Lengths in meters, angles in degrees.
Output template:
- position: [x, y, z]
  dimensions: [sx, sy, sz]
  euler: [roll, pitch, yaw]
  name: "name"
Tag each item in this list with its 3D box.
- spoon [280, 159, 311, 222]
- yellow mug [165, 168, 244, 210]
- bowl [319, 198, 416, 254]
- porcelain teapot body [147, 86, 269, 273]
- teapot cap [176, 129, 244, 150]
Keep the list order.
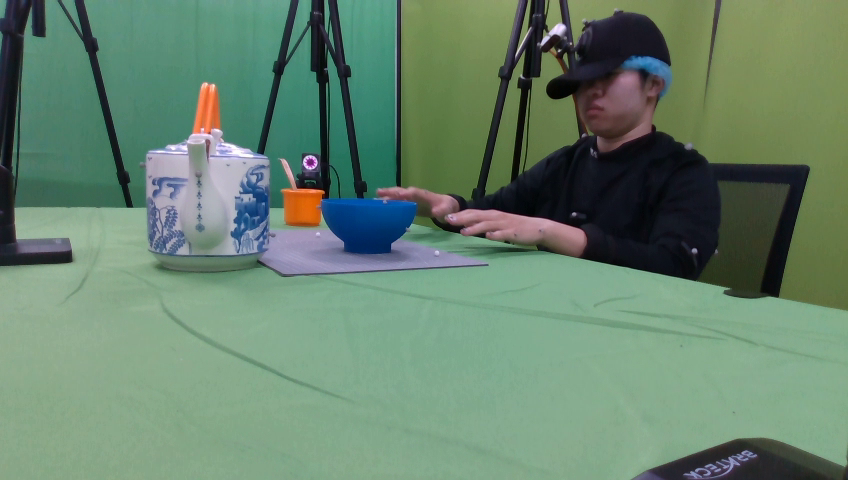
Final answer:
- position: [-0.285, -0.111, 1.320]
  dimensions: [0.042, 0.193, 0.021]
  euler: [-3, -35, -31]
  name: "spoon"
- position: [-0.370, -0.086, 1.027]
  dimensions: [0.131, 0.064, 0.100]
  euler: [5, 7, 4]
  name: "yellow mug"
- position: [-0.089, -0.022, 0.941]
  dimensions: [0.151, 0.077, 0.151]
  euler: [2, 7, 0]
  name: "bowl"
- position: [-0.263, -0.074, 0.738]
  dimensions: [0.146, 0.225, 0.204]
  euler: [1, 8, -16]
  name: "porcelain teapot body"
- position: [-0.268, -0.117, 0.760]
  dimensions: [0.085, 0.044, 0.085]
  euler: [4, 10, 0]
  name: "teapot cap"
